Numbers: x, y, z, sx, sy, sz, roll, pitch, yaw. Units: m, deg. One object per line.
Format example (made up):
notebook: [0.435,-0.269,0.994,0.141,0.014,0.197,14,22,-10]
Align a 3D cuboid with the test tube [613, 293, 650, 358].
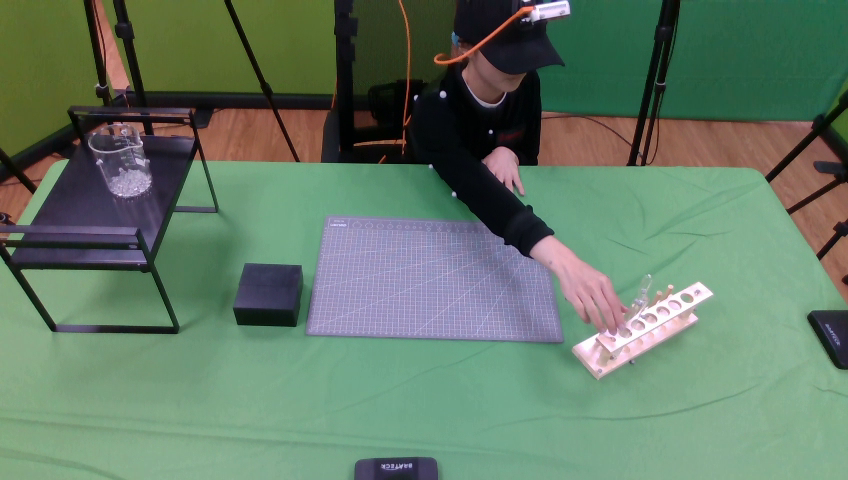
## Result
test tube: [0.329,0.139,0.966,0.017,0.151,0.017,4,43,-3]

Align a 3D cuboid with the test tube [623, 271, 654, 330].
test tube: [0.356,0.104,1.010,0.017,0.151,0.017,1,46,-1]

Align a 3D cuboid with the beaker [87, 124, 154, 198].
beaker: [-0.482,-0.124,0.978,0.084,0.101,0.073,9,46,4]

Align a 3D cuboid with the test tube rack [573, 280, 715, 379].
test tube rack: [0.378,0.140,1.038,0.242,0.085,0.066,-22,51,-23]
